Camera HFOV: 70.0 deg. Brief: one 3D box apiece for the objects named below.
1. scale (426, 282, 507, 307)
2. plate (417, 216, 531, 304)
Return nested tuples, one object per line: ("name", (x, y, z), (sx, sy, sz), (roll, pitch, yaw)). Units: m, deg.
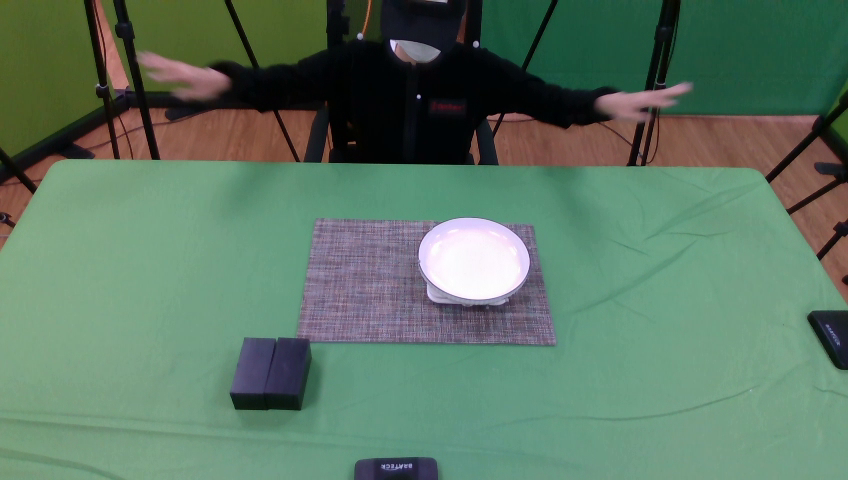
("scale", (0.078, 0.043, 1.152), (0.149, 0.032, 0.199), (3, 45, -2))
("plate", (0.089, 0.039, 1.110), (0.208, 0.039, 0.206), (2, 46, -1))
